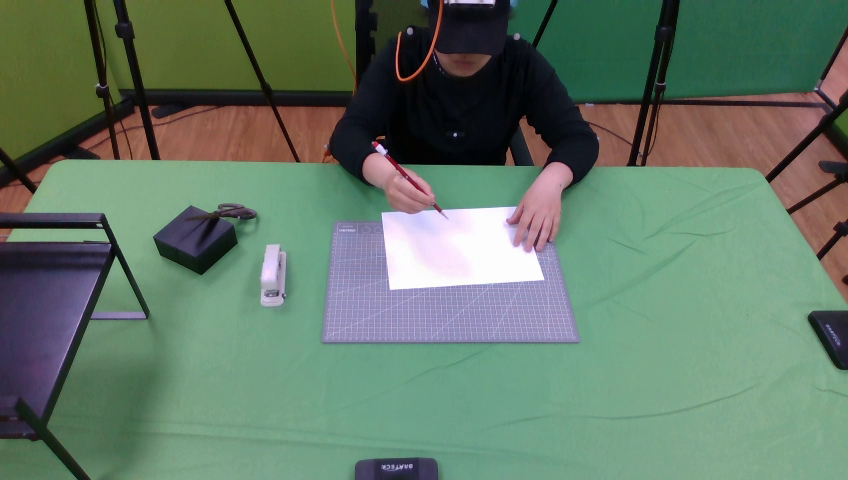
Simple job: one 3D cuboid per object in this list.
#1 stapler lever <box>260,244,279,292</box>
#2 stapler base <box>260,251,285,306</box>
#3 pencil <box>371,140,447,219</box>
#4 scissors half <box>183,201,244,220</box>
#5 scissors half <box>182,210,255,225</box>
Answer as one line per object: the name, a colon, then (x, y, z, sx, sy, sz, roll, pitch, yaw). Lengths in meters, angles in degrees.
stapler lever: (-0.279, 0.045, 1.096, 0.027, 0.040, 0.117, -2, 44, -9)
stapler base: (-0.279, 0.064, 1.113, 0.041, 0.024, 0.129, -1, 44, -9)
pencil: (-0.025, -0.108, 1.099, 0.194, 0.012, 0.012, 46, 52, -8)
scissors half: (-0.405, -0.054, 1.163, 0.040, 0.013, 0.175, 30, 18, 7)
scissors half: (-0.389, -0.042, 1.158, 0.040, 0.013, 0.175, 41, 21, 22)
